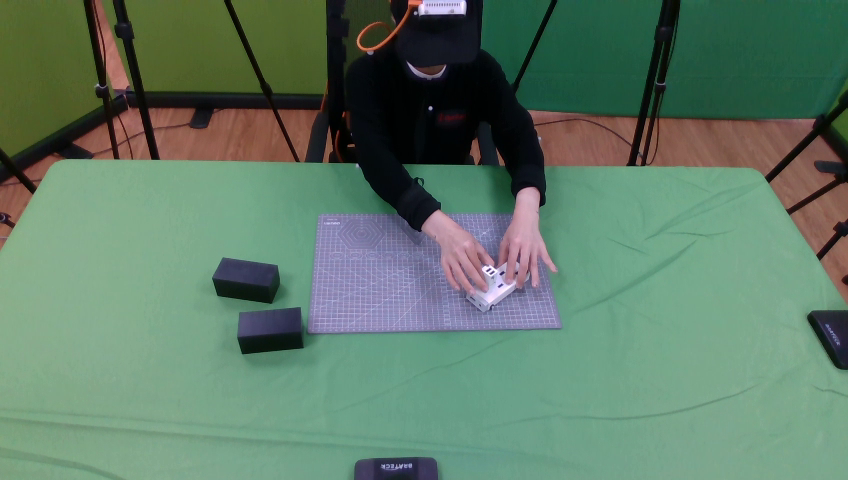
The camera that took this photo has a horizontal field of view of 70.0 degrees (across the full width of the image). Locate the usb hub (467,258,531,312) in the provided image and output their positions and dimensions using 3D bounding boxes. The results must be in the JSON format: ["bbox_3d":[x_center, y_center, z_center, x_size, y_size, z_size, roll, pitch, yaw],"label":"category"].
[{"bbox_3d":[0.139,0.083,1.120,0.125,0.025,0.049,-32,57,-29],"label":"usb hub"}]

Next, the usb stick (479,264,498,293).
[{"bbox_3d":[0.115,0.074,1.084,0.021,0.059,0.027,-33,58,-31],"label":"usb stick"}]
